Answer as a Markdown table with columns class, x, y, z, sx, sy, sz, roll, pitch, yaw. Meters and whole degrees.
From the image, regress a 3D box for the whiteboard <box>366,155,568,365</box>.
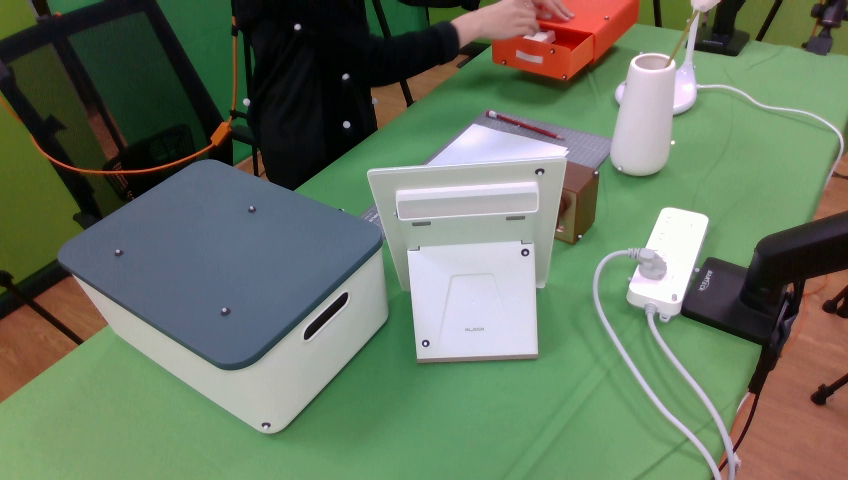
| class | x | y | z | sx | sy | sz | roll | pitch | yaw |
| --- | --- | --- | --- | --- | --- | --- | --- | --- | --- |
| whiteboard | 0.059 | 0.049 | 0.738 | 0.217 | 0.307 | 0.143 | -3 | 60 | 5 |

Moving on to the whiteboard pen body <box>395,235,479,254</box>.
| class | x | y | z | sx | sy | sz | roll | pitch | yaw |
| --- | --- | --- | --- | --- | --- | --- | --- | --- | --- |
| whiteboard pen body | 0.019 | 0.005 | 0.963 | 0.140 | 0.017 | 0.017 | 9 | 43 | 17 |

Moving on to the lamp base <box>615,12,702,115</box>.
| class | x | y | z | sx | sy | sz | roll | pitch | yaw |
| --- | --- | --- | --- | --- | --- | --- | --- | --- | --- |
| lamp base | 0.484 | -0.364 | 1.211 | 0.180 | 0.181 | 0.159 | -15 | 41 | -14 |

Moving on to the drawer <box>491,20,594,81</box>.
| class | x | y | z | sx | sy | sz | roll | pitch | yaw |
| --- | --- | --- | --- | --- | --- | --- | --- | --- | --- |
| drawer | 0.288 | -0.445 | 1.346 | 0.193 | 0.073 | 0.212 | 24 | 49 | 32 |

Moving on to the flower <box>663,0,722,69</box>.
| class | x | y | z | sx | sy | sz | roll | pitch | yaw |
| --- | --- | --- | --- | --- | --- | --- | --- | --- | --- |
| flower | 0.379 | -0.261 | 0.965 | 0.044 | 0.362 | 0.038 | 21 | 53 | 5 |

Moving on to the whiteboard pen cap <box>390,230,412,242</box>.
| class | x | y | z | sx | sy | sz | roll | pitch | yaw |
| --- | --- | --- | --- | --- | --- | --- | --- | --- | --- |
| whiteboard pen cap | -0.037 | -0.006 | 0.980 | 0.033 | 0.018 | 0.018 | 9 | 43 | 17 |

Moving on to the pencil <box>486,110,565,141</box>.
| class | x | y | z | sx | sy | sz | roll | pitch | yaw |
| --- | --- | --- | --- | --- | --- | --- | --- | --- | --- |
| pencil | 0.204 | -0.232 | 1.226 | 0.192 | 0.012 | 0.012 | 29 | 52 | 33 |

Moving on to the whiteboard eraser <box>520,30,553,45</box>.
| class | x | y | z | sx | sy | sz | roll | pitch | yaw |
| --- | --- | --- | --- | --- | --- | --- | --- | --- | --- |
| whiteboard eraser | 0.240 | -0.435 | 1.358 | 0.055 | 0.042 | 0.113 | 29 | 44 | 23 |

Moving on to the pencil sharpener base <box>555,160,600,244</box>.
| class | x | y | z | sx | sy | sz | roll | pitch | yaw |
| --- | --- | --- | --- | --- | --- | --- | --- | --- | --- |
| pencil sharpener base | 0.228 | -0.057 | 0.945 | 0.061 | 0.107 | 0.077 | 24 | 50 | 31 |

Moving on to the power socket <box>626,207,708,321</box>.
| class | x | y | z | sx | sy | sz | roll | pitch | yaw |
| --- | --- | --- | --- | --- | --- | --- | --- | --- | --- |
| power socket | 0.359 | 0.025 | 0.886 | 0.072 | 0.033 | 0.227 | 16 | 46 | 26 |

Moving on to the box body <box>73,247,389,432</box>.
| class | x | y | z | sx | sy | sz | roll | pitch | yaw |
| --- | --- | --- | --- | --- | --- | --- | --- | --- | --- |
| box body | -0.255 | 0.065 | 0.827 | 0.361 | 0.161 | 0.255 | 21 | 48 | 29 |

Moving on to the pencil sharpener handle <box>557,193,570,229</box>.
| class | x | y | z | sx | sy | sz | roll | pitch | yaw |
| --- | --- | --- | --- | --- | --- | --- | --- | --- | --- |
| pencil sharpener handle | 0.195 | -0.038 | 0.908 | 0.035 | 0.068 | 0.031 | 24 | 50 | 30 |

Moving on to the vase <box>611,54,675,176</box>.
| class | x | y | z | sx | sy | sz | roll | pitch | yaw |
| --- | --- | --- | --- | --- | --- | --- | --- | --- | --- |
| vase | 0.377 | -0.209 | 1.031 | 0.098 | 0.201 | 0.097 | -3 | 40 | 3 |

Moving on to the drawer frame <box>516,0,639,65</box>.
| class | x | y | z | sx | sy | sz | roll | pitch | yaw |
| --- | --- | --- | --- | --- | --- | --- | --- | --- | --- |
| drawer frame | 0.354 | -0.506 | 1.404 | 0.200 | 0.083 | 0.214 | 25 | 54 | 33 |

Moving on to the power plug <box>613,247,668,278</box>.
| class | x | y | z | sx | sy | sz | roll | pitch | yaw |
| --- | --- | --- | --- | --- | --- | --- | --- | --- | --- |
| power plug | 0.306 | 0.031 | 0.851 | 0.072 | 0.053 | 0.035 | 24 | 49 | 34 |

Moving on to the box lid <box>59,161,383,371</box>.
| class | x | y | z | sx | sy | sz | roll | pitch | yaw |
| --- | --- | --- | --- | --- | --- | --- | --- | --- | --- |
| box lid | -0.262 | 0.010 | 0.777 | 0.369 | 0.015 | 0.264 | 21 | 48 | 29 |
